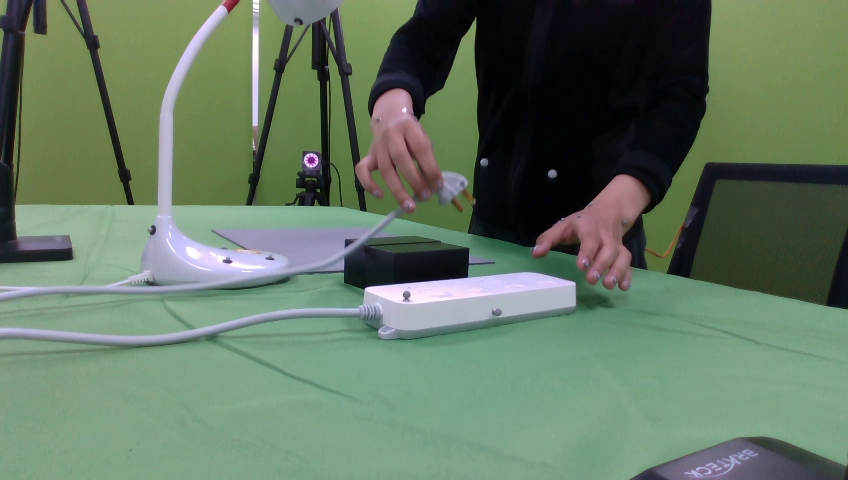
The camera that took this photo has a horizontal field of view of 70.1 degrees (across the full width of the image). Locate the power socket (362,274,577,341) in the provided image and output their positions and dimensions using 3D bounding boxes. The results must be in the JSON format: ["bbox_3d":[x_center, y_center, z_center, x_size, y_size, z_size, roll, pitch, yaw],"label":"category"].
[{"bbox_3d":[0.048,0.056,0.549,0.228,0.032,0.072,-3,8,-35],"label":"power socket"}]

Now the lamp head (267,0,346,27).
[{"bbox_3d":[-0.157,-0.326,0.701,0.112,0.112,0.123,6,-16,26],"label":"lamp head"}]

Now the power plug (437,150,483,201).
[{"bbox_3d":[0.039,-0.059,0.608,0.053,0.035,0.072,31,-4,-8],"label":"power plug"}]

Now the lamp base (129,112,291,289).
[{"bbox_3d":[-0.233,-0.045,0.658,0.160,0.180,0.180,7,11,29],"label":"lamp base"}]
